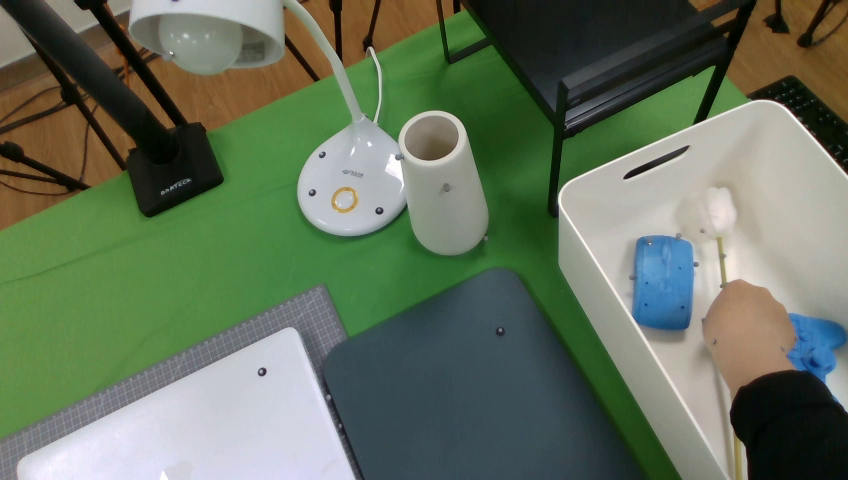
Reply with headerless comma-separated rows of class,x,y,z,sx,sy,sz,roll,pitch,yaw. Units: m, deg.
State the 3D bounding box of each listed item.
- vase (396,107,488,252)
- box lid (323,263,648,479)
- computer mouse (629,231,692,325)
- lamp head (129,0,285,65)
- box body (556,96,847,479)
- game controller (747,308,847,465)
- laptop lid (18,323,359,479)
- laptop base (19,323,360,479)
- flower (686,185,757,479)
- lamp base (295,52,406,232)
vase,0.020,-0.065,0.693,0.098,0.202,0.097,-4,63,9
box lid,0.065,0.217,0.656,0.263,0.015,0.368,-26,64,-6
computer mouse,0.270,0.039,0.691,0.062,0.041,0.116,7,62,15
lamp head,-0.159,-0.206,0.463,0.112,0.113,0.122,1,82,9
box body,0.319,0.072,0.605,0.254,0.162,0.360,-24,64,-3
game controller,0.389,0.143,0.621,0.097,0.052,0.154,6,65,12
laptop lid,-0.263,0.265,0.664,0.357,0.013,0.239,-25,66,-4
laptop base,-0.262,0.268,0.675,0.354,0.023,0.233,-26,68,-5
flower,0.323,0.100,0.642,0.044,0.038,0.358,-16,56,33
lamp base,-0.104,-0.128,0.752,0.160,0.182,0.178,4,62,10
